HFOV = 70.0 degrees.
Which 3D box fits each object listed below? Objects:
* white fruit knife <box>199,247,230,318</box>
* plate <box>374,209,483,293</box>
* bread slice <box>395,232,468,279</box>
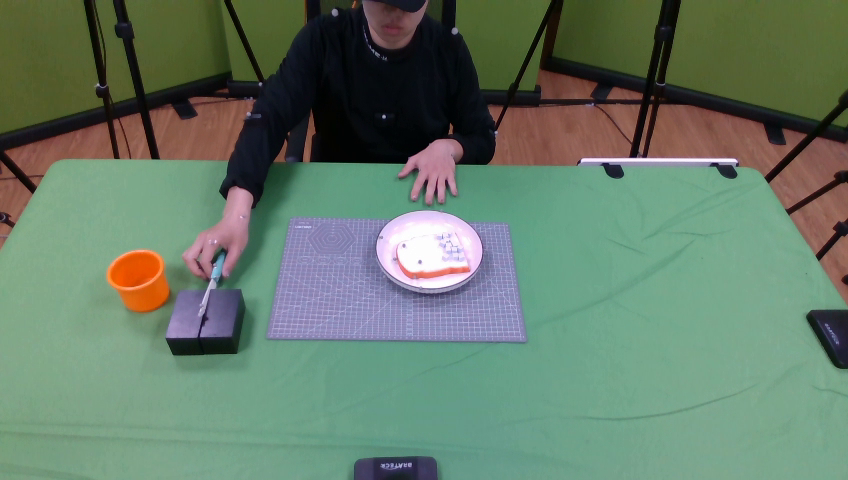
[{"bbox_3d":[-0.367,0.069,1.062,0.016,0.027,0.206,-5,32,-2],"label":"white fruit knife"},{"bbox_3d":[0.009,0.024,1.160,0.209,0.038,0.208,2,46,-2],"label":"plate"},{"bbox_3d":[0.011,0.030,1.158,0.132,0.019,0.104,-8,47,-14],"label":"bread slice"}]
